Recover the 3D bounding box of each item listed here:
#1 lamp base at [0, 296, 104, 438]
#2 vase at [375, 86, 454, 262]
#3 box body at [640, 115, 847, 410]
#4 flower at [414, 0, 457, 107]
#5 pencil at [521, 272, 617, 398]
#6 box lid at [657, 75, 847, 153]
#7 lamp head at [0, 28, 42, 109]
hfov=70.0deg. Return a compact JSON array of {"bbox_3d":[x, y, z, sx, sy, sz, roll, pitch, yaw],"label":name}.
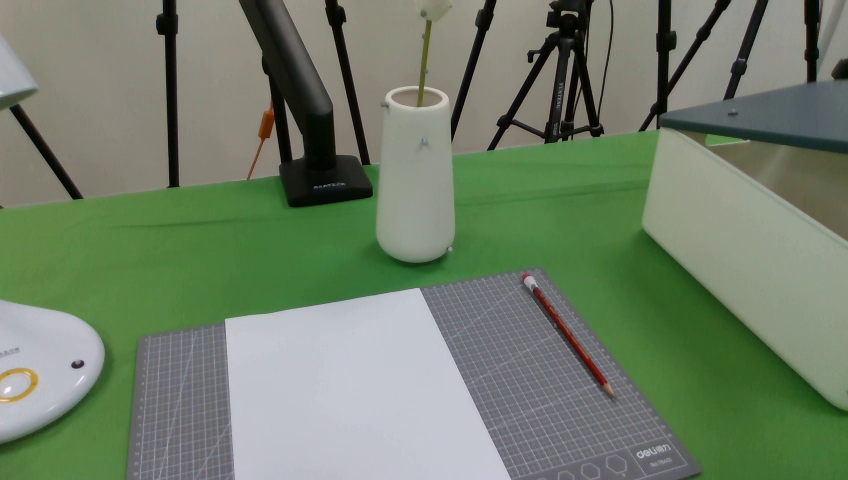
[{"bbox_3d":[-0.388,0.051,0.515,0.177,0.181,0.160,25,40,33],"label":"lamp base"},{"bbox_3d":[-0.011,-0.073,0.707,0.098,0.201,0.097,1,34,0],"label":"vase"},{"bbox_3d":[0.445,-0.007,0.671,0.255,0.162,0.360,-9,36,-15],"label":"box body"},{"bbox_3d":[-0.009,-0.128,0.643,0.044,0.364,0.038,27,53,11],"label":"flower"},{"bbox_3d":[0.147,0.093,0.635,0.012,0.012,0.192,-9,37,-17],"label":"pencil"},{"bbox_3d":[0.442,-0.129,0.595,0.264,0.015,0.368,-16,18,-11],"label":"box lid"},{"bbox_3d":[-0.301,-0.115,0.332,0.112,0.123,0.111,-25,18,9],"label":"lamp head"}]
